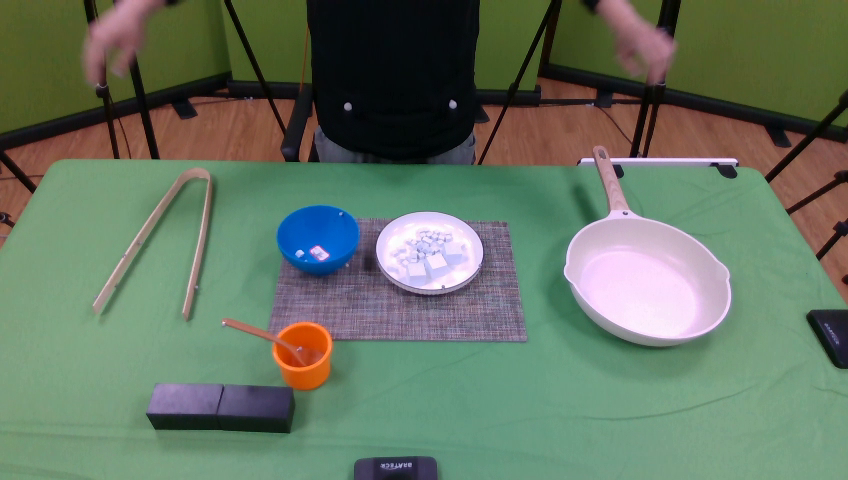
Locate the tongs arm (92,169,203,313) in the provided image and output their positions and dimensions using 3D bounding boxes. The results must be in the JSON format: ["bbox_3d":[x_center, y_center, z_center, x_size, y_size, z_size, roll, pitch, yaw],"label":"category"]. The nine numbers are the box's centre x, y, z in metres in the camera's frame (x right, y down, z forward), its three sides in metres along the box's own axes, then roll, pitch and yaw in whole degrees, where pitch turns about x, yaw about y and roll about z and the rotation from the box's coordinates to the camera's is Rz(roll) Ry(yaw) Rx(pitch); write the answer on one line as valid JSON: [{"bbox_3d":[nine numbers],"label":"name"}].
[{"bbox_3d":[-0.517,-0.012,1.160,0.051,0.026,0.382,7,45,1],"label":"tongs arm"}]

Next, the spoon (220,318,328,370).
[{"bbox_3d":[-0.229,0.158,0.940,0.021,0.195,0.041,-36,39,22],"label":"spoon"}]

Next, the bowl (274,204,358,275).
[{"bbox_3d":[-0.197,0.012,1.126,0.151,0.077,0.150,2,46,-2],"label":"bowl"}]

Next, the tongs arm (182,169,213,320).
[{"bbox_3d":[-0.436,-0.005,1.166,0.028,0.028,0.385,-5,46,-6],"label":"tongs arm"}]

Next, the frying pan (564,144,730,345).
[{"bbox_3d":[0.396,-0.008,1.179,0.307,0.103,0.484,0,55,-5],"label":"frying pan"}]

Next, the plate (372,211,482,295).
[{"bbox_3d":[0.005,0.028,1.155,0.208,0.039,0.206,2,46,-2],"label":"plate"}]
